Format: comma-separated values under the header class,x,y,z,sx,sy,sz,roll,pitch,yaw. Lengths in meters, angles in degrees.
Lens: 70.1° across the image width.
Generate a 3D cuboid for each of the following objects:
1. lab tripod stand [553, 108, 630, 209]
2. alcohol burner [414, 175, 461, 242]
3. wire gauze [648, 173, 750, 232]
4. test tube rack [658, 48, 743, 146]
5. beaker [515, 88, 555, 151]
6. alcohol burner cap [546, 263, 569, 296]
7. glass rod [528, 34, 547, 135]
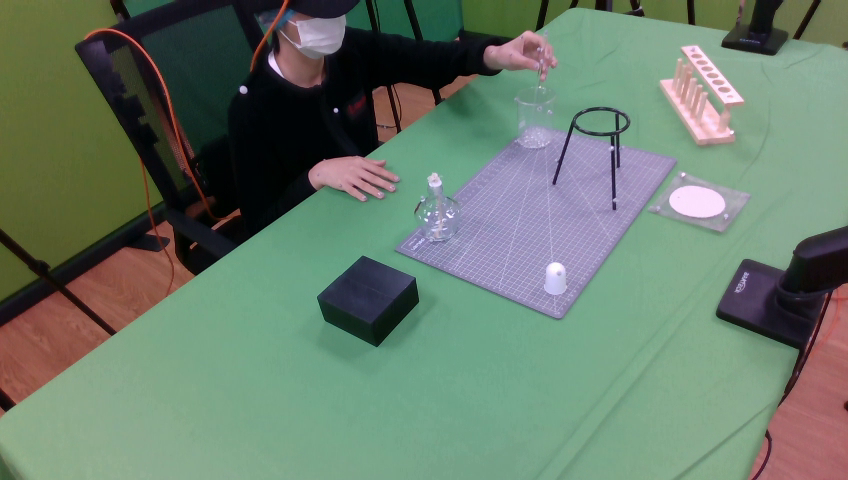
class,x,y,z,sx,sy,sz,roll,pitch,yaw
lab tripod stand,0.292,-0.144,1.010,0.148,0.132,0.147,-5,38,4
alcohol burner,0.020,-0.055,0.963,0.078,0.119,0.077,-3,41,4
wire gauze,0.451,-0.062,0.990,0.120,0.011,0.125,26,49,32
test tube rack,0.532,-0.284,1.181,0.067,0.085,0.241,-5,40,4
beaker,0.213,-0.230,1.153,0.073,0.101,0.084,20,46,29
alcohol burner cap,0.191,0.053,0.862,0.034,0.048,0.033,-5,40,5
glass rod,0.208,-0.281,1.114,0.008,0.200,0.008,1,41,0
